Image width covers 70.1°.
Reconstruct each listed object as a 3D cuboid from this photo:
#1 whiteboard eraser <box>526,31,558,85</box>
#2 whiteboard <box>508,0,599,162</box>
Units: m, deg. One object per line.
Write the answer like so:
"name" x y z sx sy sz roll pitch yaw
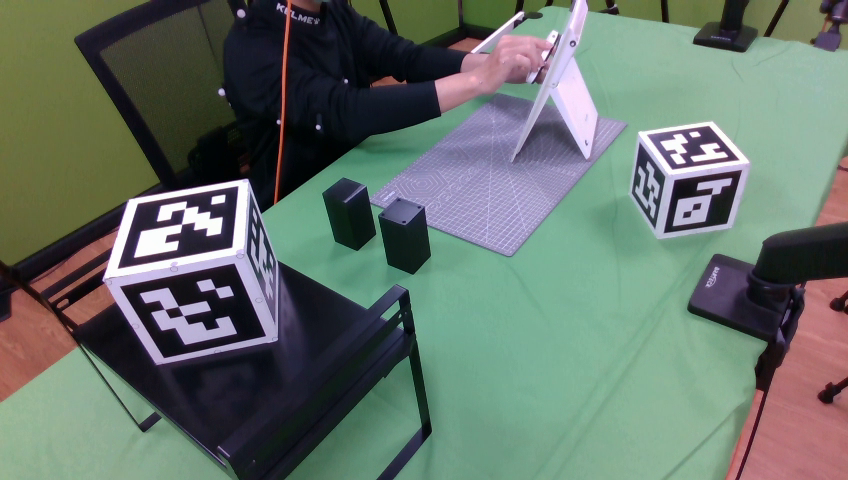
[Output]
"whiteboard eraser" 0.220 -0.340 1.129 0.019 0.101 0.041 25 19 -8
"whiteboard" 0.285 -0.289 1.090 0.144 0.305 0.217 22 45 4
